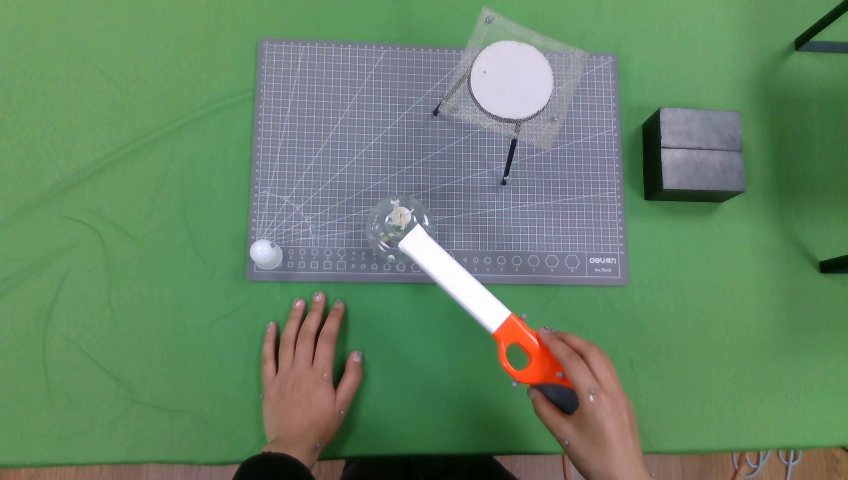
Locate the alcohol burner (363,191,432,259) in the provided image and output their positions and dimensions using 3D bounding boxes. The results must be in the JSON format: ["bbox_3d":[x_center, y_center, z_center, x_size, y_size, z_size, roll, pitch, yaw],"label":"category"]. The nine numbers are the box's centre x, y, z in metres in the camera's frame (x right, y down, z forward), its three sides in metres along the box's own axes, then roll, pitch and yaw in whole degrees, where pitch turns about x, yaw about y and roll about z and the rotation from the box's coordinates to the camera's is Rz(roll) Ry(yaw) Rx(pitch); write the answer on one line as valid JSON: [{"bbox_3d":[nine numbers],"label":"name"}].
[{"bbox_3d":[-0.028,-0.019,0.659,0.078,0.119,0.077,1,81,-5],"label":"alcohol burner"}]

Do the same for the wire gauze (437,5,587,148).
[{"bbox_3d":[0.092,-0.166,0.617,0.121,0.011,0.124,24,78,-1],"label":"wire gauze"}]

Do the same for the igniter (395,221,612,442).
[{"bbox_3d":[0.079,0.088,0.591,0.276,0.025,0.057,44,78,4],"label":"igniter"}]

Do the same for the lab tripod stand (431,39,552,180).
[{"bbox_3d":[0.085,-0.157,0.683,0.148,0.132,0.147,1,78,-4],"label":"lab tripod stand"}]

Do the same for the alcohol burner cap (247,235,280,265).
[{"bbox_3d":[-0.182,0.009,0.677,0.034,0.048,0.033,1,80,-5],"label":"alcohol burner cap"}]
